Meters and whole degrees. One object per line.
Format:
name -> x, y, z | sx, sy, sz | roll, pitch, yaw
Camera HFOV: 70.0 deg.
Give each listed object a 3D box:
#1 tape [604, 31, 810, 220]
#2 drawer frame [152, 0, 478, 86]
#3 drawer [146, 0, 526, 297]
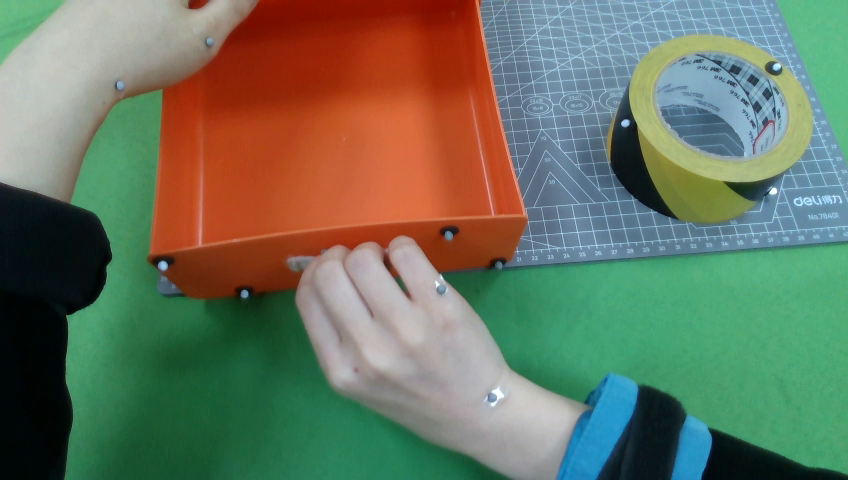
tape -> 0.177, -0.072, 0.387 | 0.117, 0.053, 0.116 | 0, 66, 0
drawer frame -> -0.082, -0.224, 0.436 | 0.202, 0.083, 0.211 | -11, 65, -5
drawer -> -0.055, -0.079, 0.375 | 0.195, 0.074, 0.210 | -7, 66, -3
